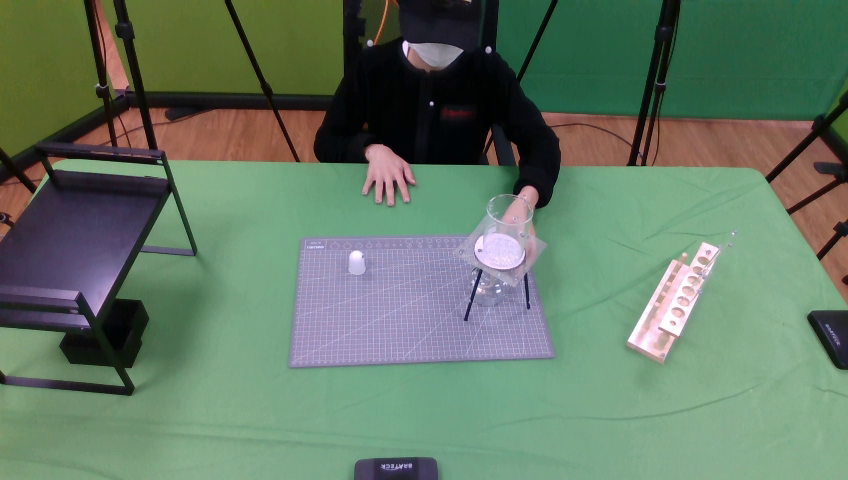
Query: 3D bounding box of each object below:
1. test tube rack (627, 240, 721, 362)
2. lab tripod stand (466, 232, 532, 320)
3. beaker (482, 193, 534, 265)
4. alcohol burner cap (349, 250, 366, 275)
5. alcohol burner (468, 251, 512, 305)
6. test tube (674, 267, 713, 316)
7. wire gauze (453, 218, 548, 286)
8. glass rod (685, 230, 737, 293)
[{"bbox_3d":[0.452,0.098,1.087,0.066,0.085,0.242,28,51,22],"label":"test tube rack"},{"bbox_3d":[0.125,0.059,1.065,0.148,0.132,0.147,1,45,0],"label":"lab tripod stand"},{"bbox_3d":[0.135,-0.016,0.979,0.073,0.101,0.084,35,52,28],"label":"beaker"},{"bbox_3d":[-0.125,0.039,1.132,0.034,0.048,0.033,2,46,-2],"label":"alcohol burner cap"},{"bbox_3d":[0.119,0.061,1.077,0.078,0.120,0.077,1,47,-1],"label":"alcohol burner"},{"bbox_3d":[0.445,0.098,1.017,0.017,0.151,0.017,4,48,-4],"label":"test tube"},{"bbox_3d":[0.129,0.014,1.019,0.124,0.011,0.121,26,47,25],"label":"wire gauze"},{"bbox_3d":[0.495,0.042,1.051,0.008,0.200,0.008,2,55,-2],"label":"glass rod"}]
